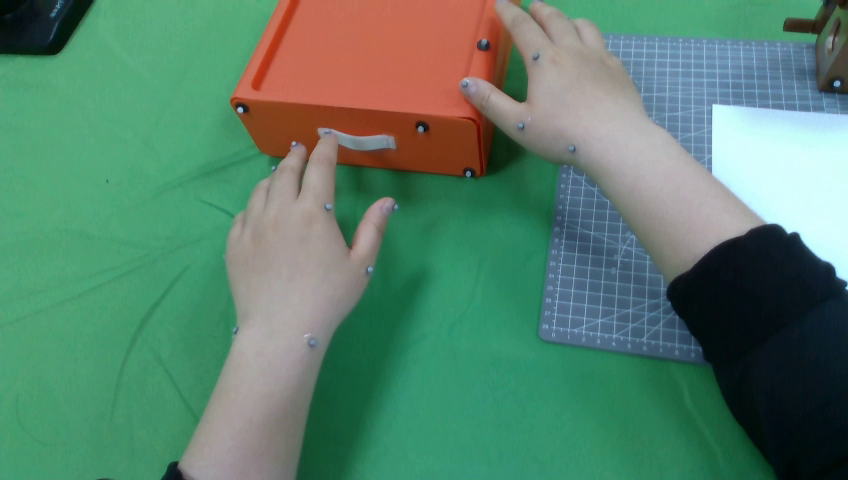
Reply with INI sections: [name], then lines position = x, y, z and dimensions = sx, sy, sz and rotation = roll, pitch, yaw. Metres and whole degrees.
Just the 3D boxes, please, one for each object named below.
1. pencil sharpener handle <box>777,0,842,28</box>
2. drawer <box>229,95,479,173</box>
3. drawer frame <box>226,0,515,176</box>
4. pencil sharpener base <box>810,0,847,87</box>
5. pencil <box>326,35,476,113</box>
[pencil sharpener handle]
position = 0.291, -0.184, 0.452
dimensions = 0.030, 0.068, 0.036
rotation = 8, 70, 14
[drawer]
position = -0.033, -0.167, 0.524
dimensions = 0.194, 0.074, 0.210
rotation = 7, 61, 13
[drawer frame]
position = -0.034, -0.170, 0.524
dimensions = 0.201, 0.083, 0.212
rotation = 6, 61, 12
[pencil sharpener base]
position = 0.342, -0.169, 0.450
dimensions = 0.076, 0.108, 0.061
rotation = 8, 63, 14
[pencil]
position = -0.028, -0.156, 0.551
dimensions = 0.192, 0.012, 0.012
rotation = 34, 71, 30
